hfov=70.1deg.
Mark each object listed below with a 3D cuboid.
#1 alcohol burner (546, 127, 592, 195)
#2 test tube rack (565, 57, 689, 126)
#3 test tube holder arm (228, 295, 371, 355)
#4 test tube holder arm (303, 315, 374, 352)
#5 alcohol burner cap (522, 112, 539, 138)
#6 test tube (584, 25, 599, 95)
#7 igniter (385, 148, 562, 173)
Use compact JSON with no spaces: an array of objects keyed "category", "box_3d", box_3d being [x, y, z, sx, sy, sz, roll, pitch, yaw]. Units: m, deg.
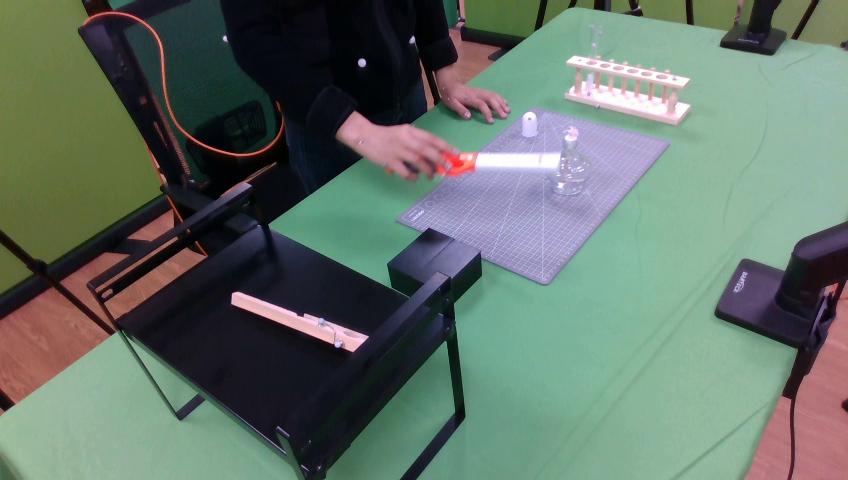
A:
[{"category":"alcohol burner","box_3d":[0.246,-0.137,1.024,0.078,0.119,0.077,-4,38,4]},{"category":"test tube rack","box_3d":[0.412,-0.311,1.230,0.240,0.085,0.067,24,49,32]},{"category":"test tube holder arm","box_3d":[-0.131,0.084,0.618,0.177,0.015,0.013,14,6,24]},{"category":"test tube holder arm","box_3d":[-0.089,0.094,0.604,0.087,0.015,0.010,14,6,25]},{"category":"alcohol burner cap","box_3d":[0.210,-0.230,1.195,0.034,0.048,0.033,-6,41,5]},{"category":"test tube","box_3d":[0.339,-0.361,1.224,0.017,0.151,0.017,-4,45,4]},{"category":"igniter","box_3d":[0.074,-0.125,0.947,0.276,0.025,0.057,1,43,14]}]
